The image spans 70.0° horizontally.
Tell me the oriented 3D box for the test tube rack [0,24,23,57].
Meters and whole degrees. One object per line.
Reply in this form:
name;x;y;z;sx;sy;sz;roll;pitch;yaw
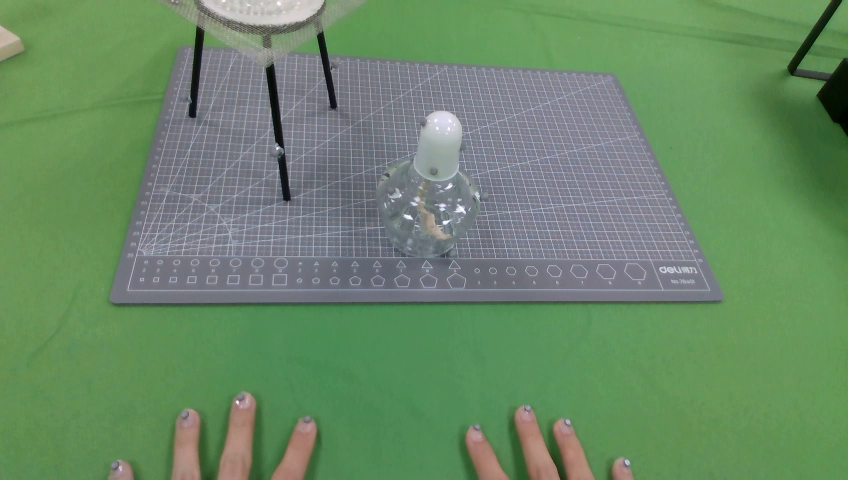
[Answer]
test tube rack;-0.450;-0.147;0.454;0.066;0.086;0.241;31;52;15

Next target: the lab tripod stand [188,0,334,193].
lab tripod stand;-0.121;-0.131;0.468;0.149;0.132;0.147;6;51;-8

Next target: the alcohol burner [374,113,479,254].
alcohol burner;0.005;-0.045;0.434;0.078;0.120;0.077;6;49;-7

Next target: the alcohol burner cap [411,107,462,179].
alcohol burner cap;0.010;-0.067;0.406;0.034;0.048;0.033;3;55;-5

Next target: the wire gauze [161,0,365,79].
wire gauze;-0.114;-0.172;0.418;0.124;0.011;0.121;34;56;12

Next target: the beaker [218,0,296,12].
beaker;-0.111;-0.204;0.380;0.073;0.101;0.084;32;54;15
